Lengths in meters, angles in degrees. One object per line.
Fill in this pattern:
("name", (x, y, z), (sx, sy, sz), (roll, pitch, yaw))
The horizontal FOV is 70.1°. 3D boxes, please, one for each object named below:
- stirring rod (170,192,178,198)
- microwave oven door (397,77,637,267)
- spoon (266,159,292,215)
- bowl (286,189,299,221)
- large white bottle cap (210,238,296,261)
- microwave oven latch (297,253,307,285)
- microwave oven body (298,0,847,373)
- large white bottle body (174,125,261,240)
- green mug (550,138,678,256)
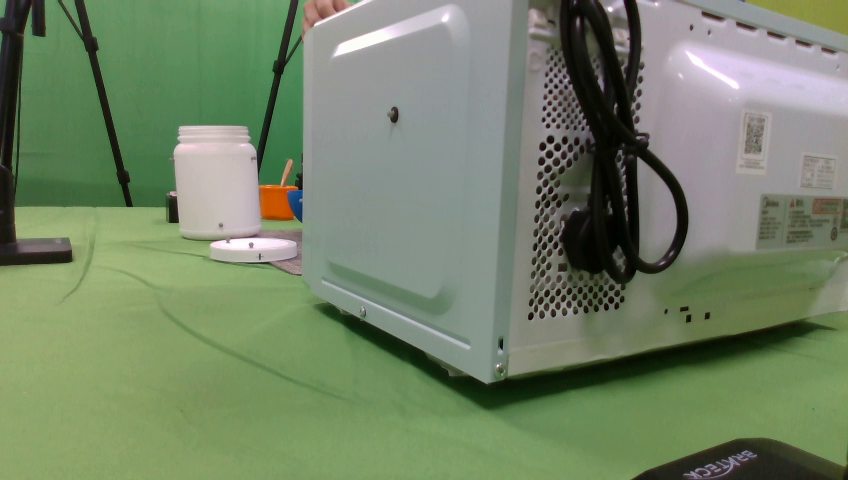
("stirring rod", (-0.465, -0.098, 1.283), (0.014, 0.006, 0.177), (42, 21, 17))
("microwave oven door", (0.115, -0.103, 0.871), (0.354, 0.243, 0.039), (7, 8, 34))
("spoon", (-0.334, -0.127, 1.423), (0.041, 0.193, 0.022), (-1, -38, 8))
("bowl", (-0.179, -0.051, 1.115), (0.151, 0.077, 0.151), (3, 8, 0))
("large white bottle cap", (-0.236, 0.012, 0.839), (0.115, 0.018, 0.115), (2, 7, 0))
("microwave oven latch", (-0.082, 0.027, 0.583), (0.079, 0.029, 0.030), (-1, 7, -32))
("microwave oven body", (0.151, -0.055, 0.543), (0.444, 0.260, 0.324), (-1, 7, -33))
("large white bottle body", (-0.349, -0.100, 1.025), (0.131, 0.184, 0.130), (-1, 9, 0))
("green mug", (0.177, -0.037, 0.581), (0.124, 0.105, 0.093), (-1, -1, 42))
